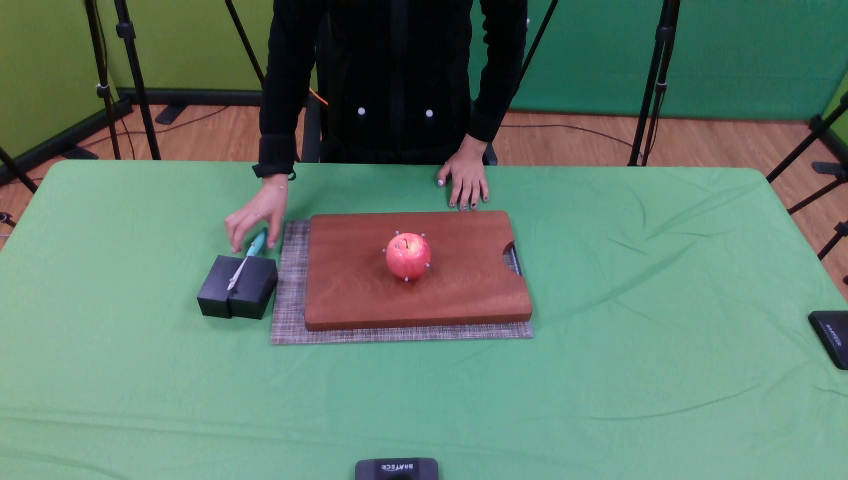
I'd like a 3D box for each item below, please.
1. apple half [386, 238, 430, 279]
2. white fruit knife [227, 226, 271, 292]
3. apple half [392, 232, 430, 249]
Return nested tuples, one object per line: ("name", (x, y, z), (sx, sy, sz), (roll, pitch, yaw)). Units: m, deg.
("apple half", (-0.032, 0.039, 1.084), (0.081, 0.075, 0.053), (11, 50, 1))
("white fruit knife", (-0.318, 0.031, 1.107), (0.016, 0.027, 0.206), (6, 32, 3))
("apple half", (-0.025, 0.010, 1.110), (0.081, 0.081, 0.032), (8, 51, 4))
